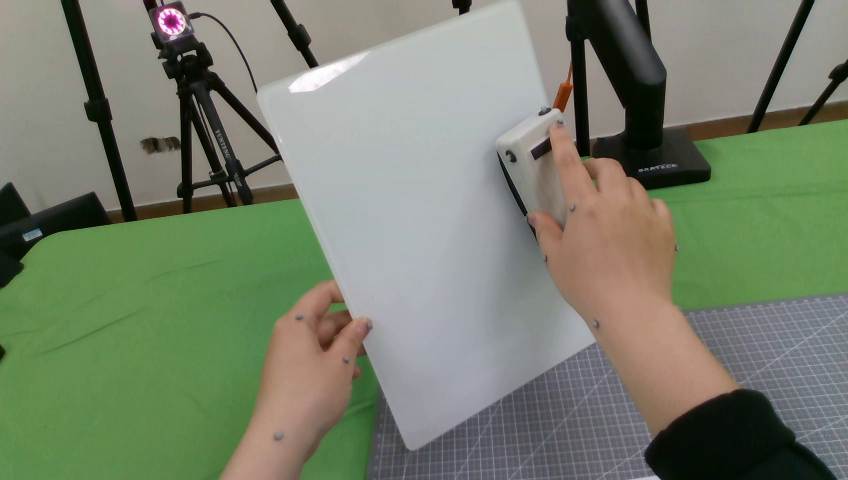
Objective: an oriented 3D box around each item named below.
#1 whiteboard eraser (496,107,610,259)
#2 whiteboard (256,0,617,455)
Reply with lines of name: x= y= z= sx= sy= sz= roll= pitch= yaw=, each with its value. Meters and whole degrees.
whiteboard eraser: x=0.101 y=-0.044 z=0.481 sx=0.055 sy=0.113 sz=0.041 roll=-34 pitch=21 yaw=-15
whiteboard: x=0.007 y=-0.018 z=0.536 sx=0.217 sy=0.307 sz=0.143 roll=-26 pitch=17 yaw=-17
